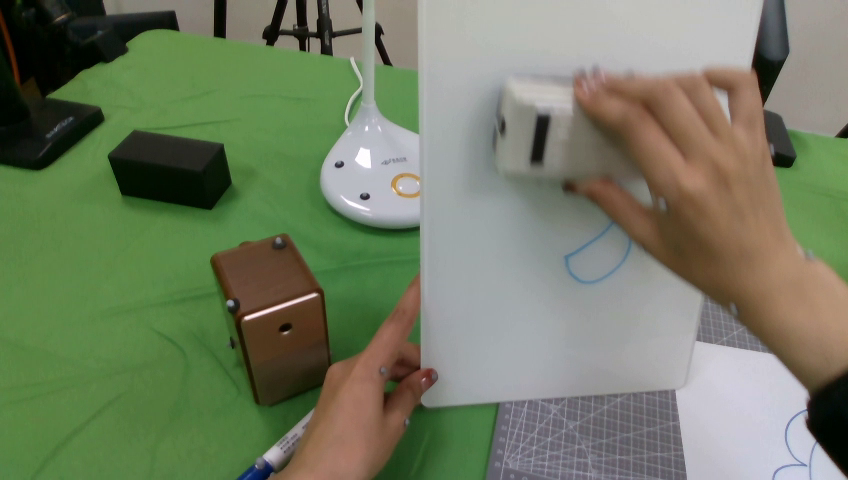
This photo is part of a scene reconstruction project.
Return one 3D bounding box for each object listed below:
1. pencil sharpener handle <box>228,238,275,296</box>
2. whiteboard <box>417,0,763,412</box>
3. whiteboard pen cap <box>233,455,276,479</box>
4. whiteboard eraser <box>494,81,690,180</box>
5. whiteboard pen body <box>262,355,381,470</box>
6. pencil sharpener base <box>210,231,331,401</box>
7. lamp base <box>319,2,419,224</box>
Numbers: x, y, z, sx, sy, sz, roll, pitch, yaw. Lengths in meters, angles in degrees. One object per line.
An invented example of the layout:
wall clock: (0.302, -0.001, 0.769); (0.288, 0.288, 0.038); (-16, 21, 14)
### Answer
pencil sharpener handle: (-0.137, 0.017, 0.484); (0.036, 0.068, 0.030); (-25, 49, -17)
whiteboard: (0.097, -0.040, 0.479); (0.217, 0.307, 0.142); (-3, 24, -6)
whiteboard pen cap: (-0.114, 0.159, 0.404); (0.018, 0.018, 0.033); (30, 45, 26)
whiteboard eraser: (0.101, -0.068, 0.374); (0.113, 0.056, 0.041); (1, 25, -8)
whiteboard pen body: (-0.081, 0.131, 0.444); (0.017, 0.017, 0.140); (28, 44, 24)
pencil sharpener base: (-0.115, 0.057, 0.460); (0.061, 0.108, 0.076); (-19, 47, -23)
lamp base: (-0.038, -0.136, 0.620); (0.161, 0.182, 0.177); (-23, 47, -26)
